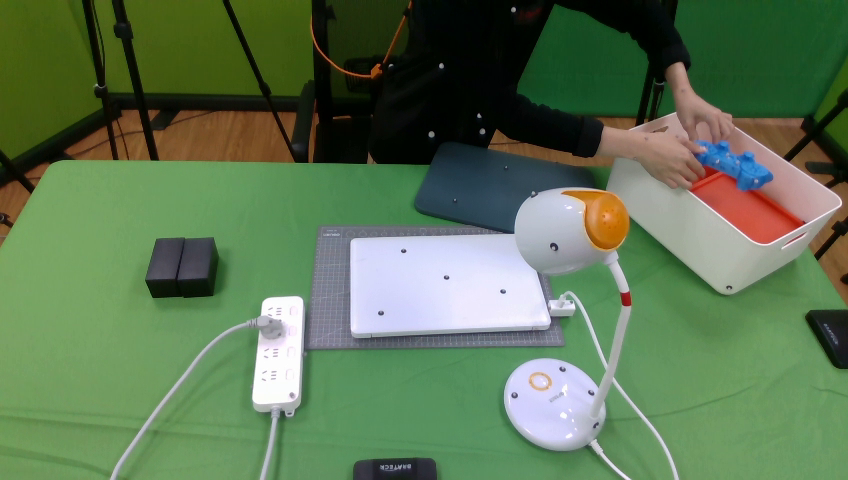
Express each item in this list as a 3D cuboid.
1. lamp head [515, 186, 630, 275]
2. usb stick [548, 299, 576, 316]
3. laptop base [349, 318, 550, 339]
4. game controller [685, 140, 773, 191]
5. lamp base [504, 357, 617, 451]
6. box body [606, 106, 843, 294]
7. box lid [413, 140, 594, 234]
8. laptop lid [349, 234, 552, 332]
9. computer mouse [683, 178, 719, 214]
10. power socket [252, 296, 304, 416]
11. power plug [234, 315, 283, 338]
[{"bbox_3d":[0.188,-0.013,0.728,0.112,0.112,0.122,-25,9,-25],"label":"lamp head"},{"bbox_3d":[0.239,0.121,1.084,0.059,0.027,0.021,-1,51,-1],"label":"usb stick"},{"bbox_3d":[0.039,0.081,1.125,0.355,0.023,0.234,-2,43,-6],"label":"laptop base"},{"bbox_3d":[0.564,-0.147,1.126,0.154,0.052,0.097,33,46,29],"label":"game controller"},{"bbox_3d":[0.220,0.211,0.903,0.160,0.181,0.178,-33,59,-30],"label":"lamp base"},{"bbox_3d":[0.582,-0.089,1.230,0.254,0.161,0.361,-22,52,-23],"label":"box body"},{"bbox_3d":[0.182,-0.109,1.325,0.371,0.015,0.262,13,46,9],"label":"box lid"},{"bbox_3d":[0.040,0.071,1.118,0.357,0.013,0.240,0,44,-5],"label":"laptop lid"},{"bbox_3d":[0.596,-0.078,1.291,0.117,0.041,0.063,56,46,-7],"label":"computer mouse"},{"bbox_3d":[-0.238,0.181,0.997,0.072,0.033,0.225,-3,47,-5],"label":"power socket"},{"bbox_3d":[-0.269,0.143,1.000,0.072,0.053,0.035,4,47,3],"label":"power plug"}]
